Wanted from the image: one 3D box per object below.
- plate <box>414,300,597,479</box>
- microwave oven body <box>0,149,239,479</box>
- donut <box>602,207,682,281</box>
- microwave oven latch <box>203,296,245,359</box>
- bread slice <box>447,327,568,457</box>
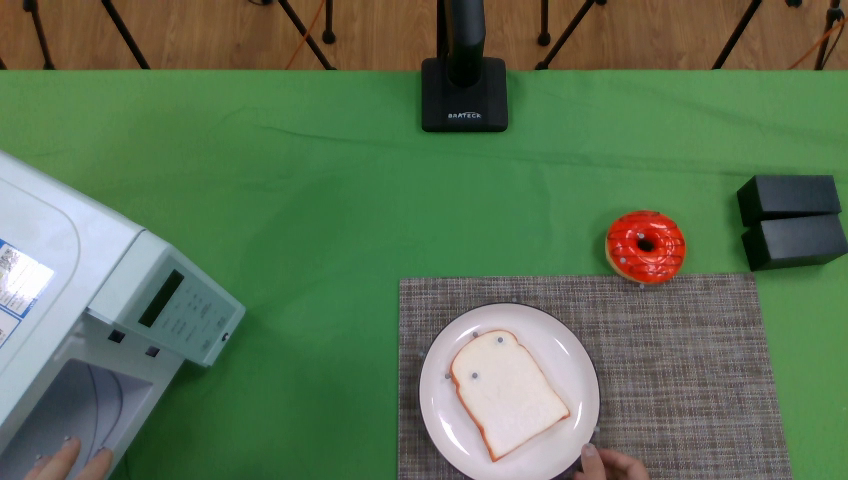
[{"bbox_3d":[0.092,0.175,0.703,0.208,0.039,0.206,0,71,0],"label":"plate"},{"bbox_3d":[-0.457,0.150,0.592,0.325,0.261,0.440,26,73,8],"label":"microwave oven body"},{"bbox_3d":[0.274,0.005,0.762,0.099,0.048,0.098,-1,68,3],"label":"donut"},{"bbox_3d":[-0.243,0.099,0.713,0.030,0.029,0.079,28,74,9],"label":"microwave oven latch"},{"bbox_3d":[0.089,0.169,0.706,0.105,0.019,0.130,-30,74,-11],"label":"bread slice"}]
